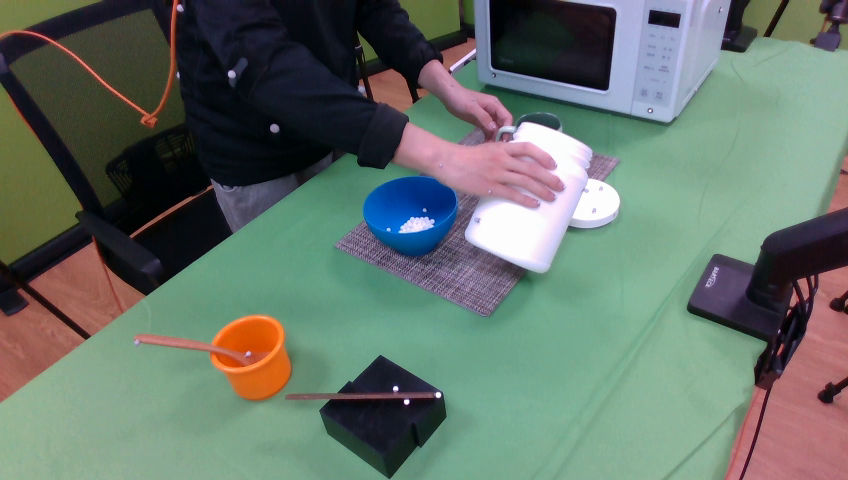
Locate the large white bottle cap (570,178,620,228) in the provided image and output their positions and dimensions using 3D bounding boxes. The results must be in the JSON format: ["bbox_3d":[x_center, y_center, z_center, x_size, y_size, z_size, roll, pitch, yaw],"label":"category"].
[{"bbox_3d":[0.265,-0.064,1.000,0.115,0.018,0.114,-1,43,2],"label":"large white bottle cap"}]

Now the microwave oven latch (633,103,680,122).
[{"bbox_3d":[0.443,-0.249,1.157,0.078,0.029,0.030,21,49,30],"label":"microwave oven latch"}]

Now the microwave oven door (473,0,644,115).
[{"bbox_3d":[0.257,-0.396,1.199,0.353,0.245,0.039,21,48,29],"label":"microwave oven door"}]

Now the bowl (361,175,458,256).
[{"bbox_3d":[-0.019,-0.028,0.955,0.151,0.077,0.150,-4,40,4],"label":"bowl"}]

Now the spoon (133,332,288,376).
[{"bbox_3d":[-0.257,0.137,0.747,0.021,0.195,0.041,-47,40,23],"label":"spoon"}]

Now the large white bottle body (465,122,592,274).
[{"bbox_3d":[0.150,-0.059,0.850,0.131,0.184,0.130,23,6,-2],"label":"large white bottle body"}]

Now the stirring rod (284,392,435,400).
[{"bbox_3d":[-0.075,0.180,0.698,0.176,0.006,0.014,-2,6,6],"label":"stirring rod"}]

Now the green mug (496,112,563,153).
[{"bbox_3d":[0.185,-0.161,1.061,0.124,0.105,0.092,15,46,24],"label":"green mug"}]

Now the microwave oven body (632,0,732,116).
[{"bbox_3d":[0.377,-0.463,1.267,0.438,0.261,0.327,21,49,30],"label":"microwave oven body"}]
